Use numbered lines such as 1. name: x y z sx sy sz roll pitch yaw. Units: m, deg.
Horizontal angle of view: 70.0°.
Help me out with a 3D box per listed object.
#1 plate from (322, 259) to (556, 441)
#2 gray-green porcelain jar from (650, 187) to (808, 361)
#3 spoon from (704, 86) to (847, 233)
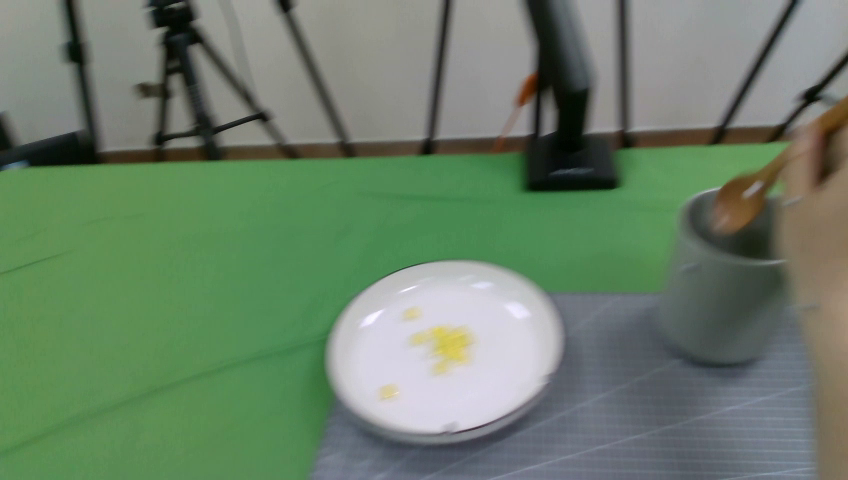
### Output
1. plate: 0.014 0.097 0.553 0.207 0.039 0.205 -3 38 3
2. gray-green porcelain jar: 0.259 0.034 0.530 0.106 0.127 0.105 -3 38 3
3. spoon: 0.250 -0.055 0.428 0.021 0.195 0.041 -4 68 -2
